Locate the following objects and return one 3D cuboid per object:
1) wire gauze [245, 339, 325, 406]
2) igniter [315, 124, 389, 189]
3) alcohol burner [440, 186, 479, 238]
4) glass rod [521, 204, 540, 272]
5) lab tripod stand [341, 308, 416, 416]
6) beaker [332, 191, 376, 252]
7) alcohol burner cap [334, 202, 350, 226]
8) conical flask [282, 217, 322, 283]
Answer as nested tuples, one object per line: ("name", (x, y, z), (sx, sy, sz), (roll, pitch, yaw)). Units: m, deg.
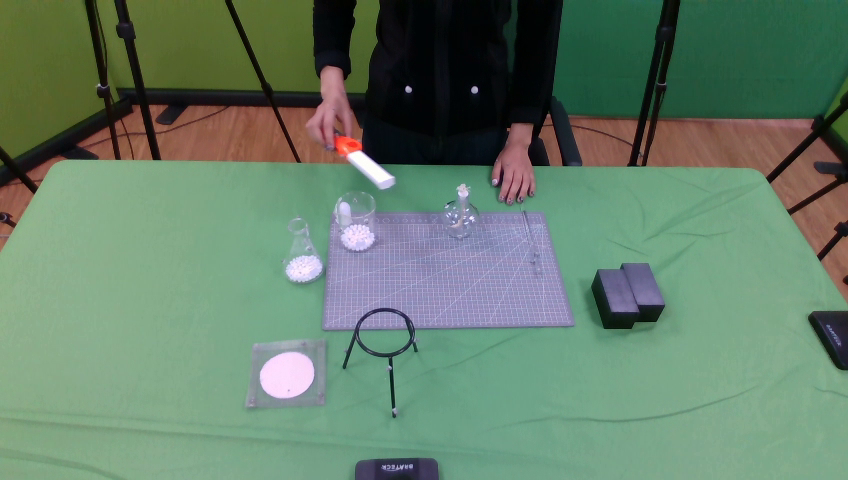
("wire gauze", (-0.224, 0.214, 0.984), (0.125, 0.011, 0.120), (-2, 46, -5))
("igniter", (-0.147, -0.169, 1.179), (0.057, 0.025, 0.274), (-21, 40, -24))
("alcohol burner", (0.072, -0.062, 1.198), (0.078, 0.119, 0.077), (3, 47, -3))
("glass rod", (0.215, -0.008, 1.230), (0.008, 0.008, 0.198), (0, 43, -3))
("lab tripod stand", (-0.061, 0.177, 0.946), (0.148, 0.132, 0.147), (2, 44, -2))
("beaker", (-0.133, -0.032, 1.163), (0.084, 0.101, 0.073), (-19, 50, -20))
("alcohol burner cap", (-0.166, -0.055, 1.222), (0.034, 0.048, 0.033), (2, 46, -2))
("conical flask", (-0.225, 0.016, 1.097), (0.075, 0.122, 0.075), (2, 46, -2))
